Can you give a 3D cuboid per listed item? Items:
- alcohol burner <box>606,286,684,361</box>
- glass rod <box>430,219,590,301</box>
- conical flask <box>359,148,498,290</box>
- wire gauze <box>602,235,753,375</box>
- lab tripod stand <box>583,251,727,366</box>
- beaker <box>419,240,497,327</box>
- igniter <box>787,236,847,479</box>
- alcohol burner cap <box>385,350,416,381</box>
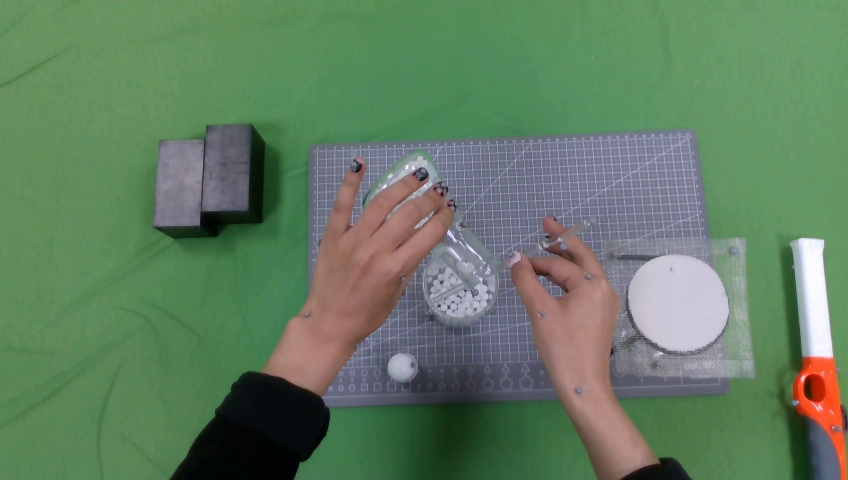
[{"bbox_3d":[0.224,0.081,0.604,0.078,0.119,0.077,-1,78,4],"label":"alcohol burner"},{"bbox_3d":[0.066,0.023,0.529,0.008,0.199,0.008,18,58,-31],"label":"glass rod"},{"bbox_3d":[0.009,-0.014,0.518,0.075,0.075,0.122,-44,90,-8],"label":"conical flask"},{"bbox_3d":[0.221,0.056,0.530,0.125,0.011,0.121,0,79,2],"label":"wire gauze"},{"bbox_3d":[0.222,0.072,0.595,0.148,0.132,0.148,0,79,1],"label":"lab tripod stand"},{"bbox_3d":[0.035,0.048,0.622,0.074,0.100,0.083,21,78,6],"label":"beaker"},{"bbox_3d":[0.410,0.131,0.636,0.057,0.025,0.275,5,78,-9],"label":"igniter"},{"bbox_3d":[-0.025,0.131,0.634,0.034,0.048,0.033,0,78,1],"label":"alcohol burner cap"}]
